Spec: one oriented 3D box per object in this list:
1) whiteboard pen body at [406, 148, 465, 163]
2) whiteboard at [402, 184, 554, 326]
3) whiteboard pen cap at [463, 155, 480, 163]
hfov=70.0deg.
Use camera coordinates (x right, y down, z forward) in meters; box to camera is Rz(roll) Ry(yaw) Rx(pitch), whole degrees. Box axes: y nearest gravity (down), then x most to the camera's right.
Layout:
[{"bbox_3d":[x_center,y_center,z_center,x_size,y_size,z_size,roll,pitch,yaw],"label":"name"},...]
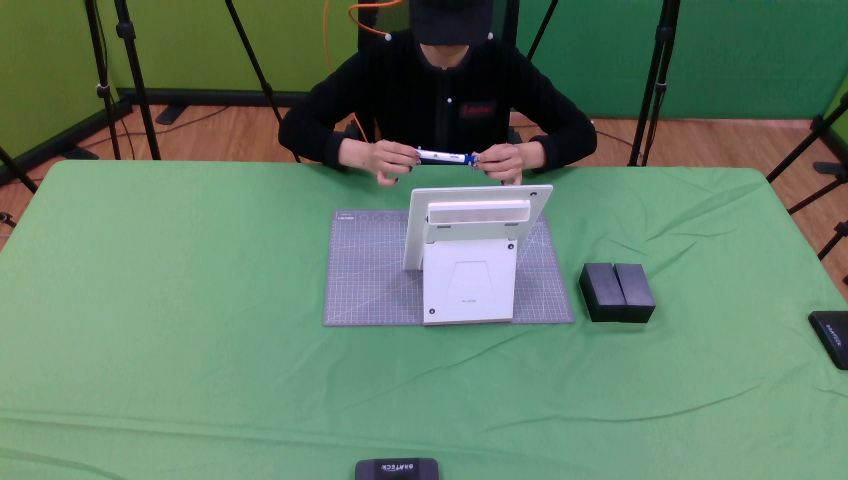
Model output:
[{"bbox_3d":[0.035,-0.166,1.198,0.141,0.017,0.017,8,46,-6],"label":"whiteboard pen body"},{"bbox_3d":[0.081,0.044,1.005,0.217,0.306,0.143,-1,66,-6],"label":"whiteboard"},{"bbox_3d":[0.094,-0.161,1.203,0.033,0.018,0.018,2,46,-2],"label":"whiteboard pen cap"}]
